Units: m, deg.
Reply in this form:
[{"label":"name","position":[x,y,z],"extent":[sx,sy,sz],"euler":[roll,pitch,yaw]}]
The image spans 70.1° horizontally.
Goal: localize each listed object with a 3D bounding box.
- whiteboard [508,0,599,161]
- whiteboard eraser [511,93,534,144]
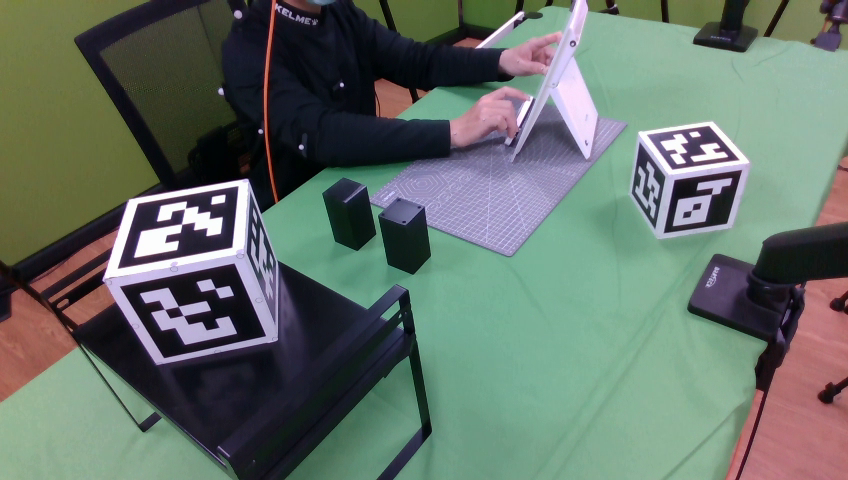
[{"label":"whiteboard","position":[0.285,-0.289,1.089],"extent":[0.144,0.305,0.217],"euler":[22,45,3]},{"label":"whiteboard eraser","position":[0.188,-0.230,1.151],"extent":[0.019,0.101,0.041],"euler":[17,6,-3]}]
